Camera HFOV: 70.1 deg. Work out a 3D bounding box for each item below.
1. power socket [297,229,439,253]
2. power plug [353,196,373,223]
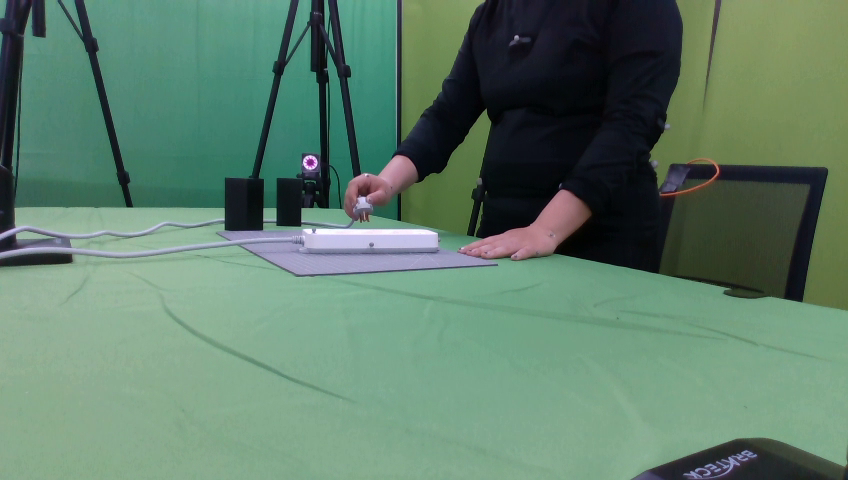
[{"bbox_3d":[-0.084,0.000,0.941,0.228,0.032,0.072,0,7,-20],"label":"power socket"},{"bbox_3d":[-0.106,-0.052,1.086,0.035,0.052,0.073,-10,-15,5],"label":"power plug"}]
